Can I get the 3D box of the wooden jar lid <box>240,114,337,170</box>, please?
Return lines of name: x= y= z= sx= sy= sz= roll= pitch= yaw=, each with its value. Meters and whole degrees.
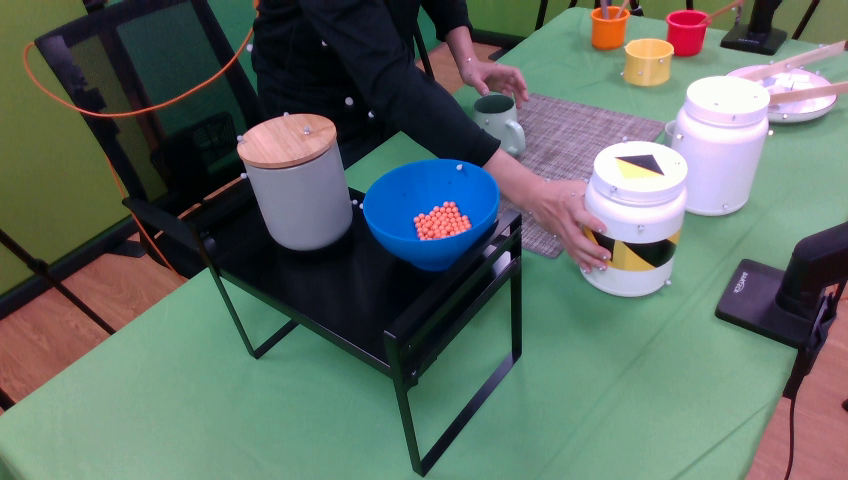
wooden jar lid: x=-0.149 y=-0.106 z=0.674 sx=0.108 sy=0.021 sz=0.108 roll=-6 pitch=39 yaw=5

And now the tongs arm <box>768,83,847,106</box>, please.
tongs arm: x=0.738 y=-0.281 z=1.134 sx=0.388 sy=0.028 sz=0.028 roll=-9 pitch=47 yaw=-5

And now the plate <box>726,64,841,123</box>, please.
plate: x=0.695 y=-0.282 z=1.189 sx=0.207 sy=0.039 sz=0.206 roll=-4 pitch=40 yaw=4

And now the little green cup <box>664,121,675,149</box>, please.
little green cup: x=0.472 y=-0.188 z=1.113 sx=0.061 sy=0.039 sz=0.061 roll=-5 pitch=40 yaw=4

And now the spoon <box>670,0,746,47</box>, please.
spoon: x=0.629 y=-0.485 z=1.350 sx=0.022 sy=0.193 sz=0.042 roll=47 pitch=54 yaw=-7

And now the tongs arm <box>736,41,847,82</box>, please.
tongs arm: x=0.712 y=-0.332 z=1.194 sx=0.386 sy=0.026 sz=0.050 roll=-19 pitch=45 yaw=-16

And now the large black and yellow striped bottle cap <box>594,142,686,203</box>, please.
large black and yellow striped bottle cap: x=0.280 y=-0.090 z=0.787 sx=0.115 sy=0.019 sz=0.114 roll=-5 pitch=41 yaw=5

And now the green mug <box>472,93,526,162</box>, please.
green mug: x=0.144 y=-0.202 z=1.122 sx=0.093 sy=0.105 sz=0.124 roll=-29 pitch=45 yaw=-23

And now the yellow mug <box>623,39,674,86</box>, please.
yellow mug: x=0.484 y=-0.398 z=1.334 sx=0.100 sy=0.064 sz=0.130 roll=-18 pitch=41 yaw=-11

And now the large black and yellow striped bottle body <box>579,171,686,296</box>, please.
large black and yellow striped bottle body: x=0.288 y=-0.027 z=0.842 sx=0.131 sy=0.185 sz=0.130 roll=-4 pitch=41 yaw=4

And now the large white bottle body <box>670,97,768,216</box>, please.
large white bottle body: x=0.458 y=-0.146 z=0.952 sx=0.130 sy=0.185 sz=0.130 roll=-4 pitch=40 yaw=4

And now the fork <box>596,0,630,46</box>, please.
fork: x=0.481 y=-0.556 z=1.452 sx=0.028 sy=0.019 sz=0.207 roll=40 pitch=103 yaw=39

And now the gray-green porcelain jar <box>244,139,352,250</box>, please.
gray-green porcelain jar: x=-0.144 y=-0.060 z=0.714 sx=0.106 sy=0.127 sz=0.105 roll=-4 pitch=41 yaw=4

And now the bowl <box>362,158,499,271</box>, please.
bowl: x=0.011 y=-0.019 z=0.679 sx=0.151 sy=0.077 sz=0.150 roll=-5 pitch=41 yaw=5

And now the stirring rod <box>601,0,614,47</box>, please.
stirring rod: x=0.440 y=-0.552 z=1.463 sx=0.014 sy=0.006 sz=0.175 roll=-7 pitch=83 yaw=2

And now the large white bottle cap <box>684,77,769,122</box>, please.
large white bottle cap: x=0.448 y=-0.210 z=0.898 sx=0.115 sy=0.018 sz=0.114 roll=-4 pitch=40 yaw=4
